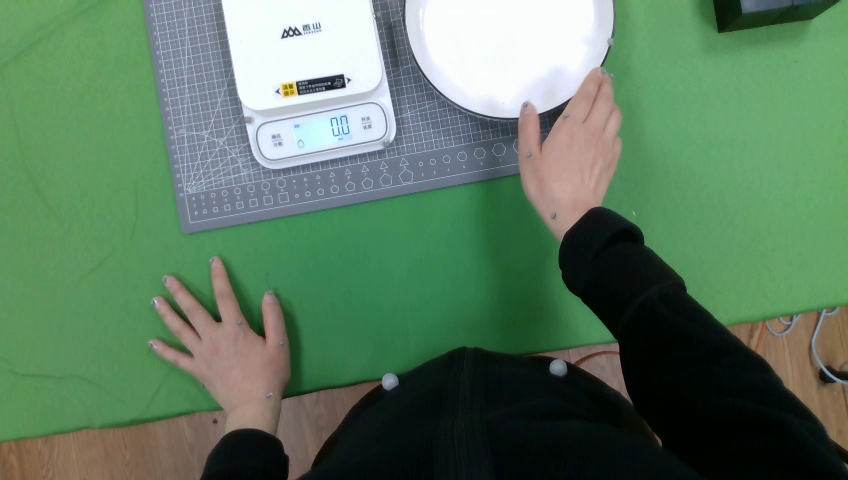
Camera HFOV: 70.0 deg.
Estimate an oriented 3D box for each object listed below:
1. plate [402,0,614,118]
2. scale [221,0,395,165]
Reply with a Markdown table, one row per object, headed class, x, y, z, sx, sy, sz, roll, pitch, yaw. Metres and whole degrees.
| class | x | y | z | sx | sy | sz | roll | pitch | yaw |
| --- | --- | --- | --- | --- | --- | --- | --- | --- | --- |
| plate | 0.083 | -0.222 | 0.610 | 0.209 | 0.038 | 0.209 | 0 | 88 | 0 |
| scale | -0.118 | -0.185 | 0.612 | 0.149 | 0.031 | 0.200 | -11 | 89 | 0 |
